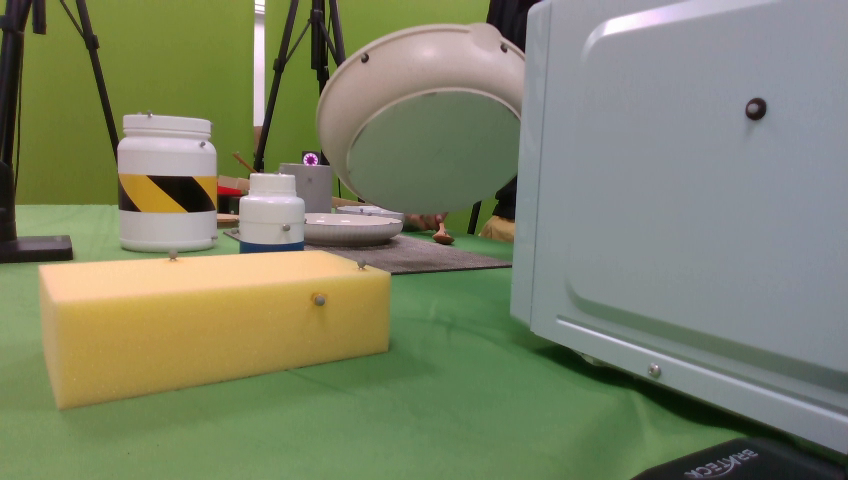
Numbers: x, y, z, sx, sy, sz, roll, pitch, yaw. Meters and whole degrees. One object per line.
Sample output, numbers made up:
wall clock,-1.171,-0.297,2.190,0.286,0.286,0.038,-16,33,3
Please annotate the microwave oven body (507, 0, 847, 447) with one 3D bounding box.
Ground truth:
microwave oven body,0.331,-0.042,0.425,0.444,0.260,0.324,-2,8,-31

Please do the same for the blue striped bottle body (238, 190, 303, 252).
blue striped bottle body,-0.153,-0.007,0.605,0.063,0.120,0.063,2,7,0

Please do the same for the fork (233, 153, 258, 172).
fork,-0.396,-0.143,1.486,0.028,0.018,0.208,21,-25,45

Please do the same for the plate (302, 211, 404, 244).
plate,-0.139,-0.022,1.021,0.209,0.038,0.209,2,8,0

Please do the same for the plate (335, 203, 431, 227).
plate,-0.089,-0.054,1.309,0.208,0.039,0.207,2,8,0

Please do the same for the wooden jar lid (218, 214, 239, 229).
wooden jar lid,-0.404,-0.037,1.169,0.108,0.020,0.108,3,7,0

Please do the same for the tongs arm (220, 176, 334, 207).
tongs arm,-0.285,-0.104,1.445,0.389,0.027,0.028,9,-4,-23

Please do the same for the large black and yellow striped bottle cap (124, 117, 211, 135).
large black and yellow striped bottle cap,-0.366,-0.163,0.866,0.115,0.019,0.115,3,7,0

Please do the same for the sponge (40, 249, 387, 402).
sponge,-0.142,0.047,0.419,0.208,0.061,0.117,-3,8,-36

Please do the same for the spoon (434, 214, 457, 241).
spoon,0.036,-0.027,1.127,0.041,0.021,0.193,0,17,-1

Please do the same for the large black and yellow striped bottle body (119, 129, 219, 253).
large black and yellow striped bottle body,-0.367,-0.080,0.876,0.131,0.184,0.130,2,7,0

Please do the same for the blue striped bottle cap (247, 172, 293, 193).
blue striped bottle cap,-0.152,-0.057,0.598,0.044,0.020,0.044,4,6,0

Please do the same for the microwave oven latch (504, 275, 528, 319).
microwave oven latch,0.100,0.042,0.469,0.079,0.029,0.030,-1,7,-25

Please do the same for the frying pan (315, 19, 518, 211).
frying pan,0.103,-0.133,0.811,0.490,0.102,0.306,-1,-33,-28

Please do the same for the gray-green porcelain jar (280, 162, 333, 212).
gray-green porcelain jar,-0.238,-0.092,1.221,0.106,0.126,0.106,2,7,0

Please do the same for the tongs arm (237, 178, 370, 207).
tongs arm,-0.242,-0.095,1.374,0.387,0.026,0.050,9,0,-37

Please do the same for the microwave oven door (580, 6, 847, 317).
microwave oven door,0.295,-0.067,0.570,0.358,0.243,0.039,-3,8,-31
